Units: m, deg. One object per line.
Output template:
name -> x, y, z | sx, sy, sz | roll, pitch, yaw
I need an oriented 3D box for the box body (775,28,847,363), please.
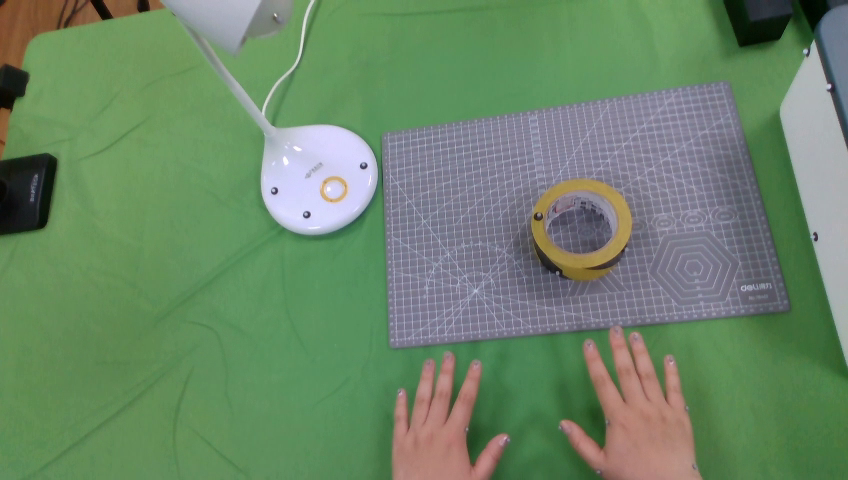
box body -> 0.529, -0.055, 0.593 | 0.254, 0.161, 0.361 | -6, 70, 9

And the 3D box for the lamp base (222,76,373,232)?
lamp base -> -0.170, -0.118, 0.742 | 0.178, 0.182, 0.160 | 32, 79, 22

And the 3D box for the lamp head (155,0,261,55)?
lamp head -> -0.176, -0.218, 0.460 | 0.123, 0.112, 0.112 | 26, 75, -16

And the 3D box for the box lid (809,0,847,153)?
box lid -> 0.515, -0.082, 0.525 | 0.263, 0.015, 0.369 | -6, 70, 9

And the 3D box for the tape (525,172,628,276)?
tape -> 0.177, -0.019, 0.706 | 0.116, 0.053, 0.116 | -3, 70, 9
